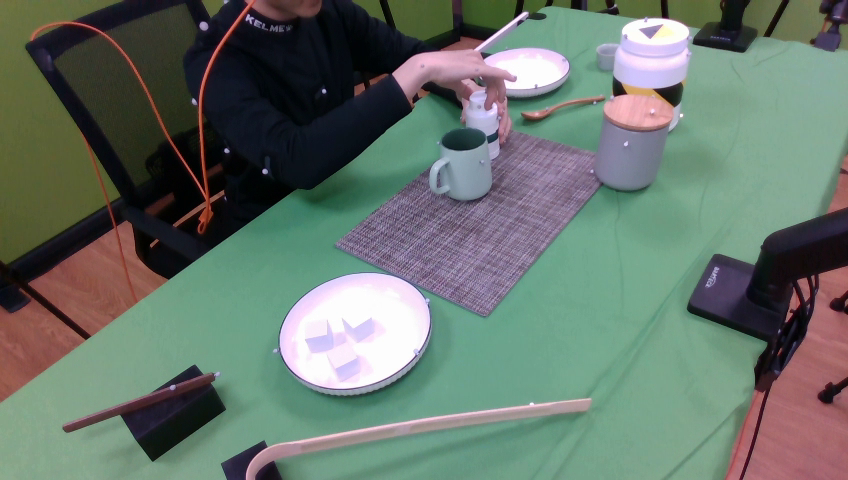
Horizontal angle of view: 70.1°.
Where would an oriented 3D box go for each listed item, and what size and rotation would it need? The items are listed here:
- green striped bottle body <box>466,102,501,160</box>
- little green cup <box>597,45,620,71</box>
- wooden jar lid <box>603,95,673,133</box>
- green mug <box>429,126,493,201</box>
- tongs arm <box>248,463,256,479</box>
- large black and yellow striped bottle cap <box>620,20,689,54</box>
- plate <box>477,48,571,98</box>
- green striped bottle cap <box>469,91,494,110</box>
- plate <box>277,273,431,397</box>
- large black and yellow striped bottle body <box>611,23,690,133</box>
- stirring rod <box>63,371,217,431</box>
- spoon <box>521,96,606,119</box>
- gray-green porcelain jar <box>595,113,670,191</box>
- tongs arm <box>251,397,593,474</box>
[{"bbox_3d":[0.110,-0.212,1.120,0.063,0.120,0.063,-4,41,4],"label":"green striped bottle body"},{"bbox_3d":[0.423,-0.413,1.376,0.061,0.039,0.061,-4,41,4],"label":"little green cup"},{"bbox_3d":[0.343,-0.200,0.973,0.108,0.021,0.108,-2,39,2],"label":"wooden jar lid"},{"bbox_3d":[0.059,-0.122,1.034,0.126,0.105,0.091,-34,48,-27],"label":"green mug"},{"bbox_3d":[0.012,0.262,0.615,0.385,0.026,0.050,2,42,-2],"label":"tongs arm"},{"bbox_3d":[0.411,-0.363,1.080,0.115,0.019,0.114,-3,42,4],"label":"large black and yellow striped bottle cap"},{"bbox_3d":[0.223,-0.371,1.357,0.209,0.038,0.208,-4,41,4],"label":"plate"},{"bbox_3d":[0.103,-0.250,1.084,0.044,0.020,0.044,-3,39,3],"label":"green striped bottle cap"},{"bbox_3d":[-0.091,0.129,0.821,0.207,0.039,0.206,-4,40,4],"label":"plate"},{"bbox_3d":[0.420,-0.299,1.132,0.131,0.185,0.130,-5,40,4],"label":"large black and yellow striped bottle body"},{"bbox_3d":[-0.337,0.192,0.723,0.177,0.014,0.005,-18,43,-12],"label":"stirring rod"},{"bbox_3d":[0.291,-0.276,1.249,0.194,0.022,0.041,-18,22,-12],"label":"spoon"},{"bbox_3d":[0.346,-0.155,1.017,0.106,0.127,0.105,-2,44,2],"label":"gray-green porcelain jar"},{"bbox_3d":[0.008,0.212,0.675,0.389,0.028,0.028,-5,46,-11],"label":"tongs arm"}]
